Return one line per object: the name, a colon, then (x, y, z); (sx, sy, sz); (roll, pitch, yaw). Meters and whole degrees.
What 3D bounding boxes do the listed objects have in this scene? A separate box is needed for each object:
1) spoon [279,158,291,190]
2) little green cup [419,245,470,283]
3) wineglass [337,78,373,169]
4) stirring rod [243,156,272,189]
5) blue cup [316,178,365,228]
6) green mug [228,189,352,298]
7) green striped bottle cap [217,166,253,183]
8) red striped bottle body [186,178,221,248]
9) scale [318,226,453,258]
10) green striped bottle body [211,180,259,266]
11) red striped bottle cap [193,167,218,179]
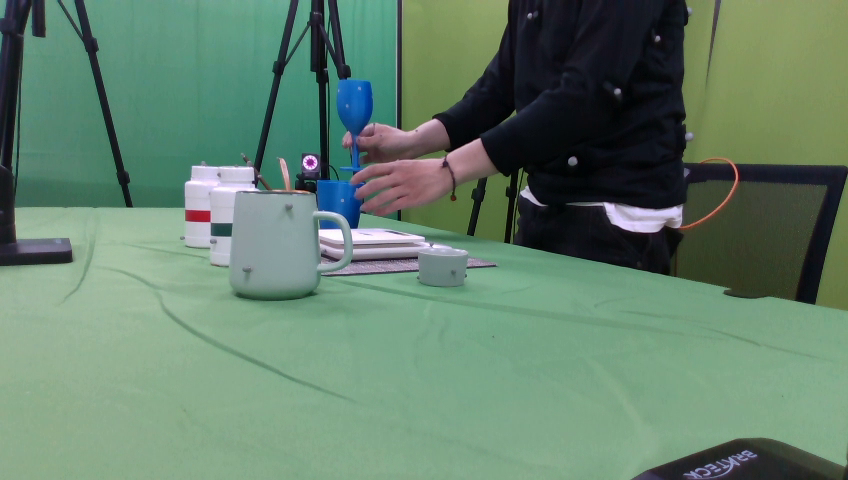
spoon: (-0.280, -0.103, 1.251); (0.042, 0.193, 0.021); (7, -40, -30)
little green cup: (0.023, 0.028, 0.713); (0.061, 0.038, 0.061); (1, 6, 0)
wineglass: (-0.135, -0.226, 1.186); (0.074, 0.172, 0.073); (0, 9, 0)
stirring rod: (-0.304, -0.099, 1.201); (0.006, 0.177, 0.014); (-27, 37, 7)
blue cup: (-0.149, -0.057, 1.073); (0.093, 0.100, 0.092); (3, 8, 0)
green mug: (-0.135, 0.002, 0.618); (0.125, 0.105, 0.092); (2, 7, 4)
green striped bottle cap: (-0.242, -0.085, 0.777); (0.044, 0.020, 0.044); (2, 9, 0)
red striped bottle body: (-0.331, -0.050, 0.927); (0.063, 0.119, 0.063); (2, 7, 0)
scale: (-0.067, 0.001, 0.906); (0.202, 0.031, 0.148); (-2, 8, -31)
green striped bottle body: (-0.243, -0.029, 0.784); (0.063, 0.119, 0.063); (2, 7, 0)
red striped bottle cap: (-0.329, -0.102, 0.921); (0.044, 0.017, 0.044); (0, 8, 0)
